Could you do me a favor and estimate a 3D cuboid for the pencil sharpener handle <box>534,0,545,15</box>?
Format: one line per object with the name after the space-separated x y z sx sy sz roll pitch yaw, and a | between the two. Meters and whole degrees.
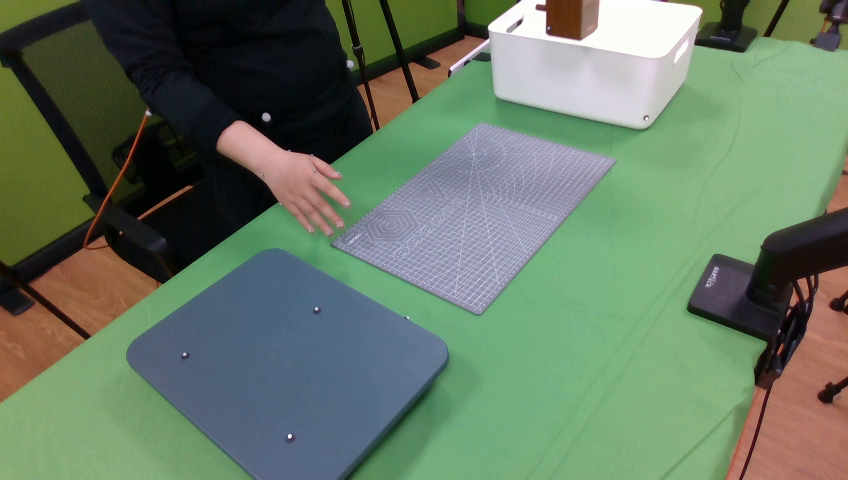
0.204 -0.422 1.038 0.030 0.068 0.036 23 41 35 | pencil sharpener handle

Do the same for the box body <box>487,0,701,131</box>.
0.345 -0.379 1.257 0.361 0.161 0.255 20 48 29 | box body

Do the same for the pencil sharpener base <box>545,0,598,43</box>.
0.245 -0.397 1.018 0.076 0.107 0.061 23 47 35 | pencil sharpener base

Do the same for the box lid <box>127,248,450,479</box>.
-0.177 0.145 0.768 0.368 0.015 0.264 24 50 32 | box lid
